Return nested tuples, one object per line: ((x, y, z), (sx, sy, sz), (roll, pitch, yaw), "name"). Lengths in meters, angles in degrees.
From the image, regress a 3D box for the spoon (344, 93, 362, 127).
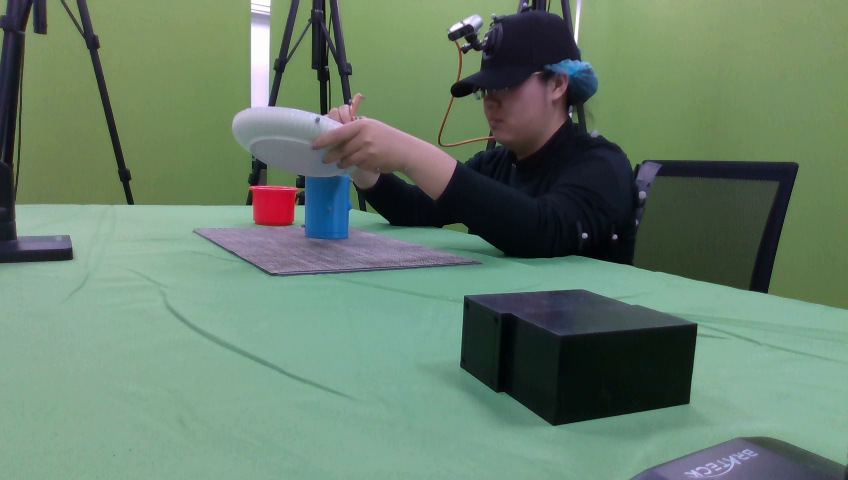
((-0.141, -0.197, 1.062), (0.041, 0.021, 0.193), (11, 49, 5), "spoon")

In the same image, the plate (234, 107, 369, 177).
((-0.191, -0.141, 0.940), (0.208, 0.039, 0.208), (7, -14, 2), "plate")

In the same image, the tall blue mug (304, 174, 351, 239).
((-0.178, -0.062, 1.062), (0.078, 0.108, 0.106), (-5, 11, -38), "tall blue mug")
